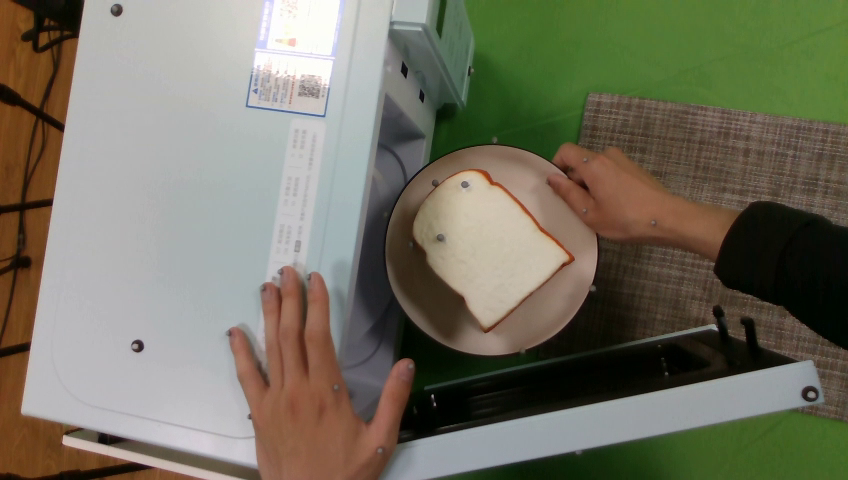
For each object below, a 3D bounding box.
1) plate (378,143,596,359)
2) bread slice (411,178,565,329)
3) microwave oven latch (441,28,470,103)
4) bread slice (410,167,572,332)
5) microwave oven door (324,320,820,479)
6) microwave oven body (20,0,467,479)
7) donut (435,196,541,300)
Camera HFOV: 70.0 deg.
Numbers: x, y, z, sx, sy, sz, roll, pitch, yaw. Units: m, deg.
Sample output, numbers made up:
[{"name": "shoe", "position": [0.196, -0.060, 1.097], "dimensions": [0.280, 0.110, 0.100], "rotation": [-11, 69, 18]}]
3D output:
[{"name": "plate", "position": [0.060, 0.011, 0.597], "dimensions": [0.207, 0.039, 0.207], "rotation": [0, 88, 6]}, {"name": "bread slice", "position": [0.054, 0.007, 0.600], "dimensions": [0.134, 0.018, 0.107], "rotation": [44, 92, 4]}, {"name": "microwave oven latch", "position": [0.033, -0.195, 0.672], "dimensions": [0.030, 0.029, 0.079], "rotation": [9, 91, 10]}, {"name": "bread slice", "position": [0.049, 0.003, 0.542], "dimensions": [0.105, 0.019, 0.131], "rotation": [-44, 82, 11]}, {"name": "microwave oven door", "position": [0.115, 0.141, 0.544], "dimensions": [0.355, 0.244, 0.039], "rotation": [-15, 85, 10]}, {"name": "microwave oven body", "position": [-0.156, -0.045, 0.605], "dimensions": [0.325, 0.261, 0.441], "rotation": [8, 90, 10]}, {"name": "donut", "position": [0.060, 0.008, 0.566], "dimensions": [0.099, 0.048, 0.098], "rotation": [1, 82, -4]}]
